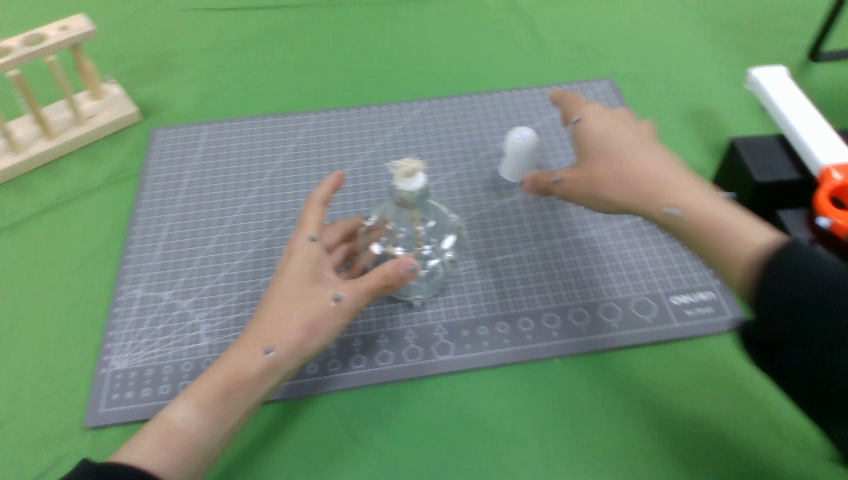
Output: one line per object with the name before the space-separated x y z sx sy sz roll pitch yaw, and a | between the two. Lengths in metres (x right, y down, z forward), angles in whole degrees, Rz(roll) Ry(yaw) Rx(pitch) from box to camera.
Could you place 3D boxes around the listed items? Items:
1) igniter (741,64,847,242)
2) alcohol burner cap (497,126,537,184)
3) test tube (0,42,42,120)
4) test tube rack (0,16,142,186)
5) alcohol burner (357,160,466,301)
igniter | 0.297 -0.042 0.430 0.057 0.025 0.273 -6 48 1
alcohol burner cap | 0.080 -0.075 0.513 0.034 0.048 0.033 0 49 0
test tube | -0.369 -0.168 0.512 0.017 0.152 0.017 -5 42 4
test tube rack | -0.388 -0.100 0.524 0.242 0.086 0.066 -33 57 -23
alcohol burner | -0.009 -0.011 0.416 0.078 0.120 0.077 0 51 0
